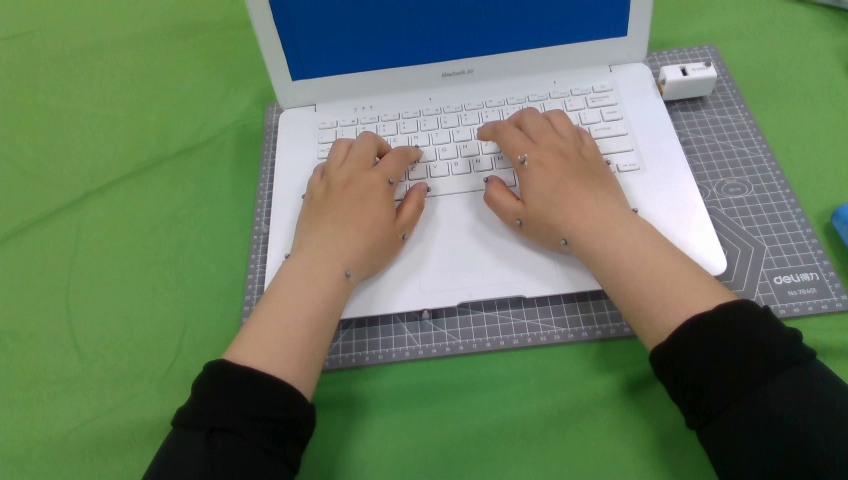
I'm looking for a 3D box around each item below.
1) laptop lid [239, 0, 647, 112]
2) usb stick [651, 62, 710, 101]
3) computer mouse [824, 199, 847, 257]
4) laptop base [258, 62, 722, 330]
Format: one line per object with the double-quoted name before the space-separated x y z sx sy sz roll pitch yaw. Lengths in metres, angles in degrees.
"laptop lid" 0.016 -0.228 0.507 0.356 0.244 0.013 -8 42 3
"usb stick" 0.223 -0.142 0.547 0.059 0.027 0.021 -7 55 6
"computer mouse" 0.344 0.010 0.431 0.063 0.041 0.116 -11 51 3
"laptop base" 0.039 -0.046 0.520 0.354 0.023 0.233 -7 58 2
